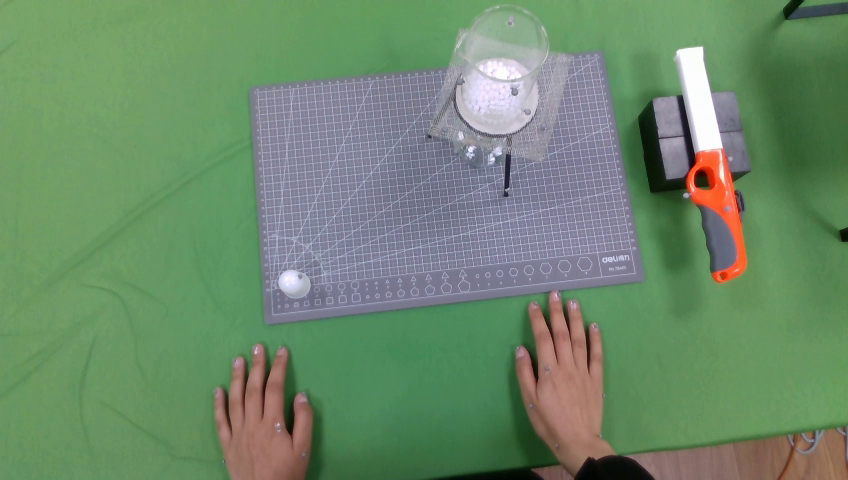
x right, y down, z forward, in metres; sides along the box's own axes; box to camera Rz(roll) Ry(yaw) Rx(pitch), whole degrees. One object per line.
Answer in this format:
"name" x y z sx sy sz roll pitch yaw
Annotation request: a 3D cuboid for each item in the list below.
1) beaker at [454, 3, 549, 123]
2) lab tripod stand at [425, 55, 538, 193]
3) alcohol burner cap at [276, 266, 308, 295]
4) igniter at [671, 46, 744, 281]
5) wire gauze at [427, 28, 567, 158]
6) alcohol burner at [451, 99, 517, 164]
"beaker" 0.068 -0.161 0.574 0.084 0.100 0.073 -5 77 -2
"lab tripod stand" 0.074 -0.141 0.686 0.148 0.132 0.147 0 76 0
"alcohol burner cap" -0.153 0.044 0.693 0.034 0.048 0.033 0 78 -1
"igniter" 0.321 -0.091 0.689 0.057 0.025 0.275 -6 78 4
"wire gauze" 0.077 -0.151 0.622 0.121 0.011 0.124 16 75 1
"alcohol burner" 0.070 -0.130 0.694 0.078 0.119 0.077 0 80 1
